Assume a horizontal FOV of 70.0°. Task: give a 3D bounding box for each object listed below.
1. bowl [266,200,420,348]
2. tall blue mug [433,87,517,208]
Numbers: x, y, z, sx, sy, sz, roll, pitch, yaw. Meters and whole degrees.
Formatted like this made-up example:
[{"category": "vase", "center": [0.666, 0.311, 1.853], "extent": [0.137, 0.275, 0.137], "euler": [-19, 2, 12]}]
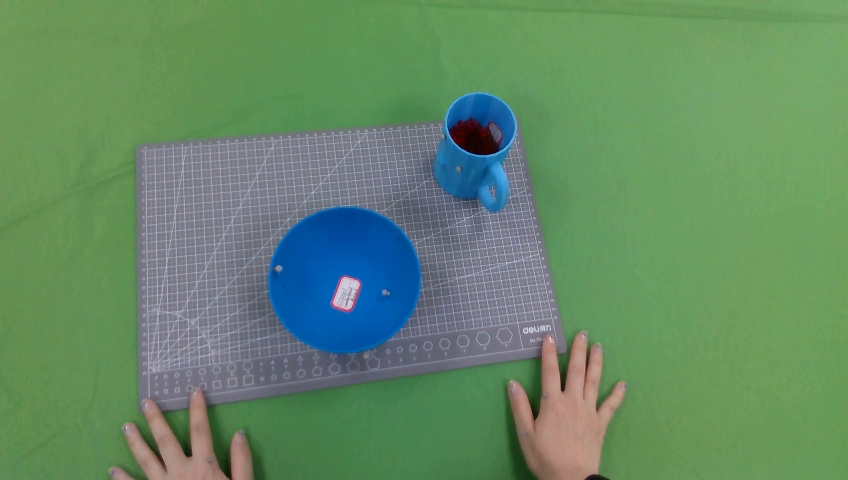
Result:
[{"category": "bowl", "center": [-0.082, 0.042, 0.629], "extent": [0.151, 0.077, 0.150], "euler": [2, 73, -6]}, {"category": "tall blue mug", "center": [0.065, -0.098, 0.671], "extent": [0.107, 0.108, 0.077], "euler": [38, 72, 7]}]
